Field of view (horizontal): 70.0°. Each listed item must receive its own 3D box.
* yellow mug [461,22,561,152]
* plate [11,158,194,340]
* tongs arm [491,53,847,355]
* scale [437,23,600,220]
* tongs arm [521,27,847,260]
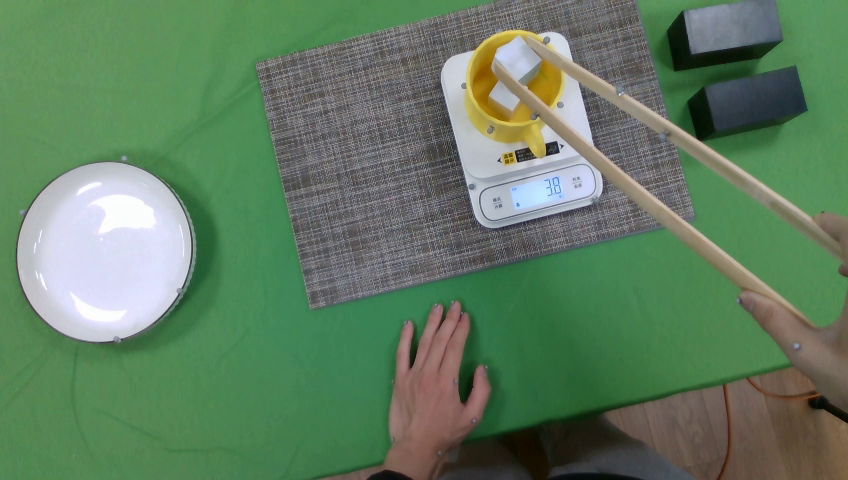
[{"bbox_3d":[0.095,-0.154,0.638,0.100,0.064,0.130,-24,87,0],"label":"yellow mug"},{"bbox_3d":[-0.365,0.011,0.700,0.207,0.039,0.207,0,86,3],"label":"plate"},{"bbox_3d":[0.173,-0.047,0.467,0.028,0.028,0.383,-39,58,-3],"label":"tongs arm"},{"bbox_3d":[0.106,-0.134,0.683,0.148,0.031,0.200,-14,86,2],"label":"scale"},{"bbox_3d":[0.193,-0.064,0.466,0.051,0.027,0.381,-44,58,-2],"label":"tongs arm"}]
